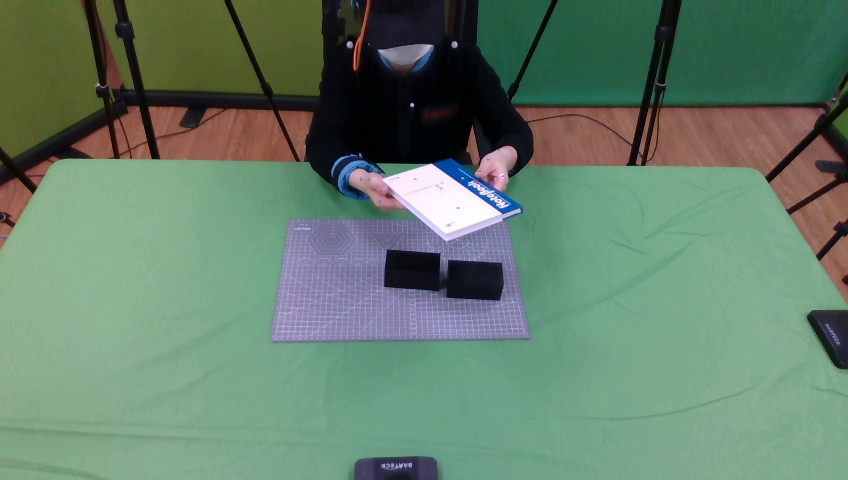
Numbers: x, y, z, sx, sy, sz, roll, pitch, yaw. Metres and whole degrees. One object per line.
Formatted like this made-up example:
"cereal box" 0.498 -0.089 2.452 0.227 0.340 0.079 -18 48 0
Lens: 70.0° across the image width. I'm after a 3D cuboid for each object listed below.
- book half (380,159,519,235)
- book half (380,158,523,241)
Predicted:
"book half" 0.037 -0.078 0.998 0.143 0.007 0.208 -20 38 -25
"book half" 0.040 -0.075 1.004 0.149 0.016 0.209 -21 38 -24
